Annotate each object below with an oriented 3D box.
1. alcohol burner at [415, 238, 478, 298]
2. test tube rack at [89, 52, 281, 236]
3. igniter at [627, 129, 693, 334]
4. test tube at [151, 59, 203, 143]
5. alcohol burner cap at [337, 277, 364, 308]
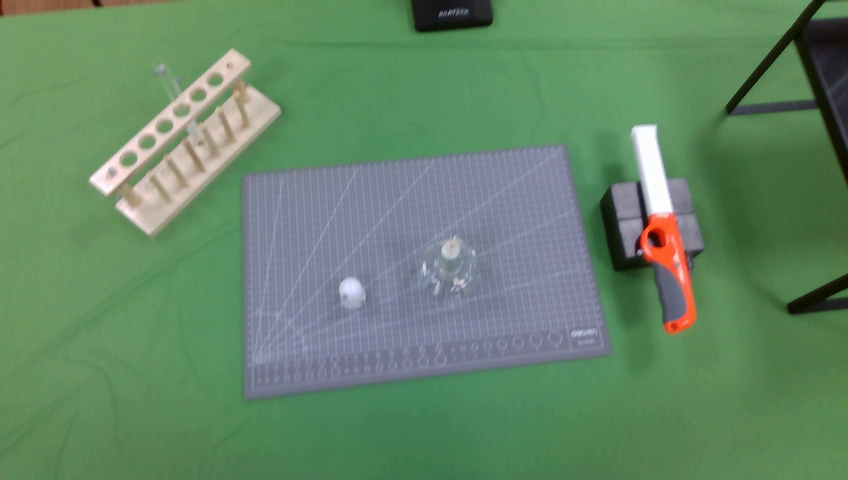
[{"bbox_3d":[0.028,0.028,0.729,0.078,0.120,0.077,1,67,-3],"label":"alcohol burner"},{"bbox_3d":[-0.302,-0.126,0.792,0.066,0.086,0.242,37,72,12],"label":"test tube rack"},{"bbox_3d":[0.292,-0.018,0.755,0.057,0.025,0.274,-2,67,0],"label":"igniter"},{"bbox_3d":[-0.305,-0.169,0.756,0.017,0.151,0.017,1,64,-1],"label":"test tube"},{"bbox_3d":[-0.092,0.063,0.749,0.034,0.048,0.033,0,68,0],"label":"alcohol burner cap"}]
